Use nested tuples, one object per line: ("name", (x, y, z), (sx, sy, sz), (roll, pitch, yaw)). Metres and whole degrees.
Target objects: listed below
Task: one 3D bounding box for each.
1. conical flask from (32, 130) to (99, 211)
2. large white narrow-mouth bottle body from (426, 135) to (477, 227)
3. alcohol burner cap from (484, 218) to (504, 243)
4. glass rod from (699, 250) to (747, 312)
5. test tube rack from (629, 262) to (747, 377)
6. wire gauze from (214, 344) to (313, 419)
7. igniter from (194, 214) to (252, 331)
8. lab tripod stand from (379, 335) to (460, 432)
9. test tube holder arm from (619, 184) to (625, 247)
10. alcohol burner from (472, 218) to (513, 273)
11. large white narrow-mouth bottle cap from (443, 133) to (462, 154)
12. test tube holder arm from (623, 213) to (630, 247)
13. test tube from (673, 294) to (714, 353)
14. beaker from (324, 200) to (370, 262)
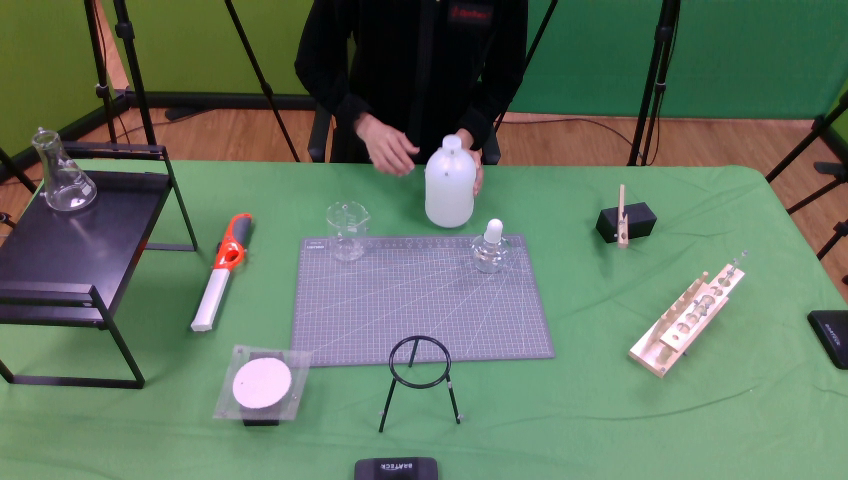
("conical flask", (-0.565, -0.110, 0.944), (0.075, 0.122, 0.075), (2, 46, -2))
("large white narrow-mouth bottle body", (0.054, -0.122, 1.181), (0.102, 0.195, 0.101), (0, 50, 0))
("alcohol burner cap", (0.130, -0.021, 1.106), (0.034, 0.048, 0.033), (3, 51, -4))
("glass rod", (0.500, 0.075, 1.021), (0.008, 0.201, 0.008), (0, 55, 1))
("test tube rack", (0.464, 0.126, 1.060), (0.242, 0.085, 0.066), (-34, 56, -31))
("wire gauze", (-0.241, 0.213, 0.916), (0.121, 0.011, 0.124), (5, 46, 1))
("igniter", (-0.367, 0.050, 1.119), (0.057, 0.025, 0.275), (-4, 45, 7))
("lab tripod stand", (-0.011, 0.214, 0.911), (0.148, 0.132, 0.147), (1, 45, 0))
("test tube holder arm", (0.396, -0.053, 1.210), (0.013, 0.015, 0.177), (14, 46, 2))
("alcohol burner", (0.128, 0.005, 1.132), (0.078, 0.120, 0.077), (0, 47, 0))
("large white narrow-mouth bottle cap", (0.053, -0.177, 1.114), (0.038, 0.024, 0.037), (0, 50, 0))
("test tube holder arm", (0.393, -0.020, 1.179), (0.010, 0.015, 0.087), (14, 46, 1))
("test tube", (0.428, 0.137, 0.978), (0.017, 0.151, 0.017), (4, 47, -4))
("beaker", (-0.143, -0.015, 1.142), (0.084, 0.101, 0.073), (1, 46, -4))
